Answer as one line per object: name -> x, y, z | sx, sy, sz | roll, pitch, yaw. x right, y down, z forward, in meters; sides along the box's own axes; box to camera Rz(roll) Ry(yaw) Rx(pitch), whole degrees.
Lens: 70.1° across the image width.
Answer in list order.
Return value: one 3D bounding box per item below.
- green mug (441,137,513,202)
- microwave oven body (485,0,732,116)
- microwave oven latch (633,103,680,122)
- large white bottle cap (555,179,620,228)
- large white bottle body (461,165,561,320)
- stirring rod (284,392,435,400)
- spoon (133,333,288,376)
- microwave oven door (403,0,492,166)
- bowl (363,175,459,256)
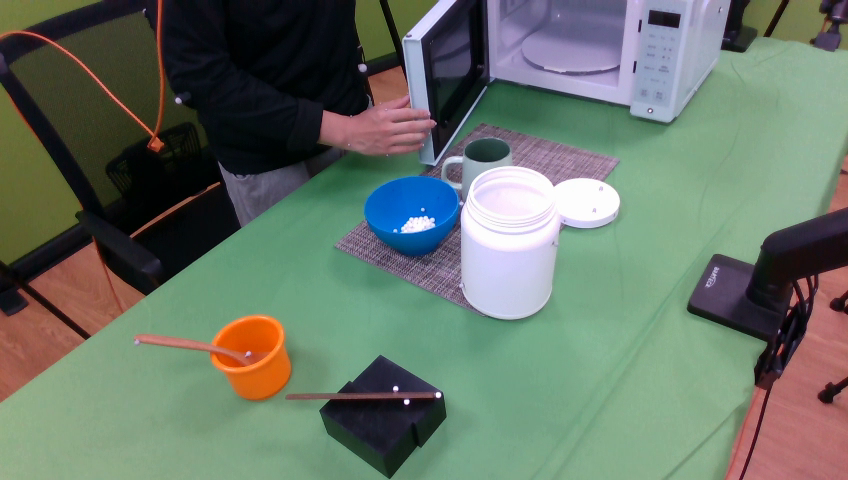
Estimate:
green mug -> 0.090, -0.107, 1.012 | 0.125, 0.105, 0.092 | 2, 42, 11
microwave oven body -> 0.377, -0.462, 1.267 | 0.438, 0.261, 0.327 | 21, 49, 30
microwave oven latch -> 0.443, -0.249, 1.157 | 0.078, 0.029, 0.030 | 20, 48, 30
large white bottle cap -> 0.265, -0.062, 1.001 | 0.115, 0.018, 0.114 | -3, 41, 3
large white bottle body -> 0.115, 0.004, 0.816 | 0.130, 0.185, 0.130 | -2, 43, 2
stirring rod -> -0.075, 0.180, 0.698 | 0.176, 0.006, 0.014 | -2, 6, 6
spoon -> -0.257, 0.137, 0.747 | 0.021, 0.195, 0.041 | -47, 40, 23
microwave oven door -> 0.057, -0.342, 1.166 | 0.039, 0.245, 0.356 | 10, 44, 20
bowl -> -0.017, -0.028, 0.955 | 0.151, 0.077, 0.150 | -4, 40, 4
